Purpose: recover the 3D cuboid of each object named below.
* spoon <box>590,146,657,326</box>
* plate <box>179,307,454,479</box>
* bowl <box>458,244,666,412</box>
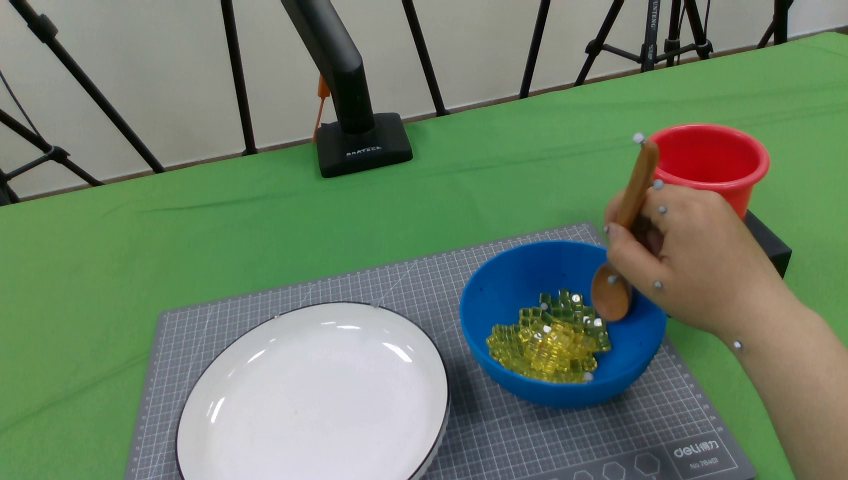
[{"bbox_3d":[0.135,0.007,0.414,0.021,0.195,0.041,-25,57,-6],"label":"spoon"},{"bbox_3d":[-0.079,0.138,0.470,0.207,0.039,0.205,-5,39,5],"label":"plate"},{"bbox_3d":[0.105,0.080,0.473,0.151,0.077,0.150,-5,39,5],"label":"bowl"}]
